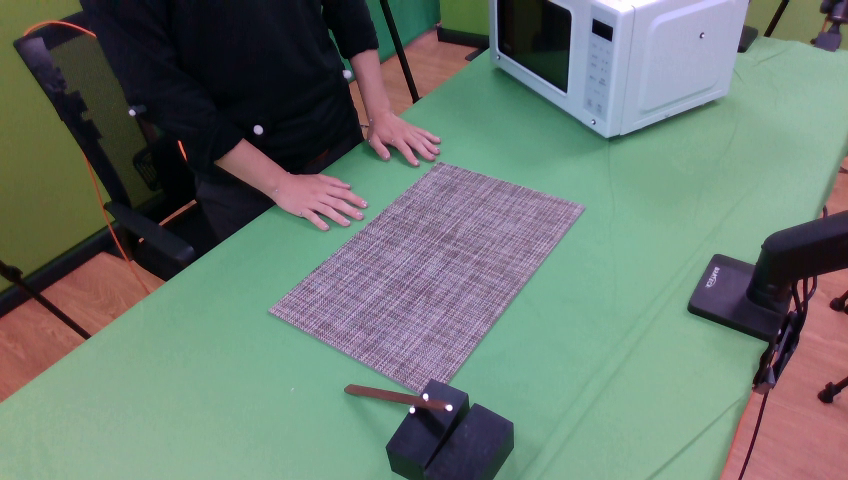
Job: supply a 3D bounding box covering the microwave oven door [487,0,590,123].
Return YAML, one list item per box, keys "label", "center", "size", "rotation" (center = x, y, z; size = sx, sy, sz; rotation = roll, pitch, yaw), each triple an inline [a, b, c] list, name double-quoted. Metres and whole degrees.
- label: "microwave oven door"
  center: [0.232, -0.420, 1.231]
  size: [0.039, 0.245, 0.352]
  rotation: [-22, 43, -16]

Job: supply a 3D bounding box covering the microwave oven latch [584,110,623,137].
- label: "microwave oven latch"
  center: [0.337, -0.222, 1.142]
  size: [0.030, 0.029, 0.078]
  rotation: [-21, 42, -14]

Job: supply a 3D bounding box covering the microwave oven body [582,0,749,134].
- label: "microwave oven body"
  center: [0.382, -0.444, 1.246]
  size: [0.327, 0.261, 0.437]
  rotation: [-22, 42, -16]

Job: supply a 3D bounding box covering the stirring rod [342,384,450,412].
- label: "stirring rod"
  center: [-0.038, 0.186, 0.714]
  size: [0.175, 0.006, 0.014]
  rotation: [-3, 22, 43]
